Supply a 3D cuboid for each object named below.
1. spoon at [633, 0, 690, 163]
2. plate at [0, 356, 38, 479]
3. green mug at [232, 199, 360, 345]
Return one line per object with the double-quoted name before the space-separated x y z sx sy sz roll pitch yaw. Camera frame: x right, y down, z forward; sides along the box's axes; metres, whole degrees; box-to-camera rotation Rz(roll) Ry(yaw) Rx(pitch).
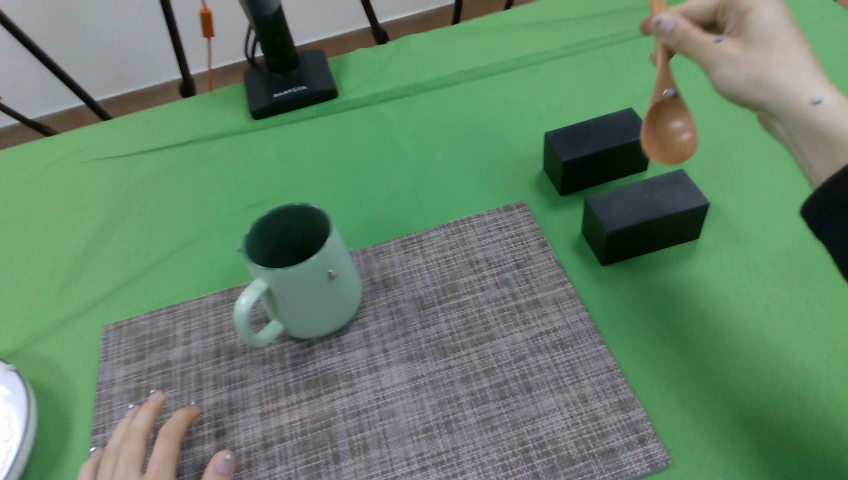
"spoon" 0.179 -0.155 0.473 0.041 0.022 0.193 -5 89 20
"plate" -0.429 0.193 0.513 0.209 0.038 0.207 -5 49 6
"green mug" -0.120 0.038 0.544 0.092 0.106 0.125 21 57 25
